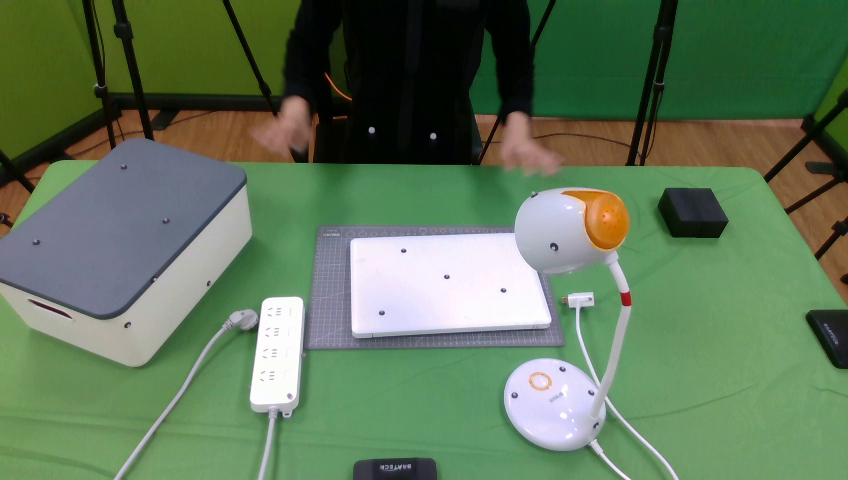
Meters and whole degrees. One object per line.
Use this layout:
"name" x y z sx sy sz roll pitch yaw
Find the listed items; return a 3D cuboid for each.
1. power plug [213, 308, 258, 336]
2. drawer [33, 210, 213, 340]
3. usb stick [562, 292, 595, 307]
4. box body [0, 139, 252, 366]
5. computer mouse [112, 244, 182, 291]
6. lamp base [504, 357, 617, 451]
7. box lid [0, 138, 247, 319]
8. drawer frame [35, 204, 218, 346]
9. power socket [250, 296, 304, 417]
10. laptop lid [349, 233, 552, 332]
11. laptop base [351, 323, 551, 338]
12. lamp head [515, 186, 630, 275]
"power plug" -0.317 0.141 1.024 0.072 0.053 0.035 -28 56 -8
"drawer" -0.509 0.055 1.046 0.194 0.073 0.211 15 44 11
"usb stick" 0.280 0.109 1.104 0.059 0.021 0.027 -6 12 23
"box body" -0.496 0.013 1.048 0.254 0.161 0.362 17 47 12
"computer mouse" -0.492 0.046 1.078 0.117 0.041 0.062 24 40 13
"lamp base" 0.220 0.211 0.903 0.160 0.181 0.178 -32 59 -30
"box lid" -0.494 -0.037 0.994 0.263 0.015 0.370 17 46 12
"drawer frame" -0.505 0.054 1.052 0.201 0.083 0.212 14 52 11
"power socket" -0.239 0.182 0.997 0.072 0.033 0.225 -2 47 -5
"laptop lid" 0.040 0.070 1.119 0.357 0.013 0.240 -1 44 -5
"laptop base" 0.039 0.080 1.126 0.355 0.023 0.234 -2 43 -6
"lamp head" 0.188 -0.013 0.728 0.112 0.112 0.122 -25 9 -25
